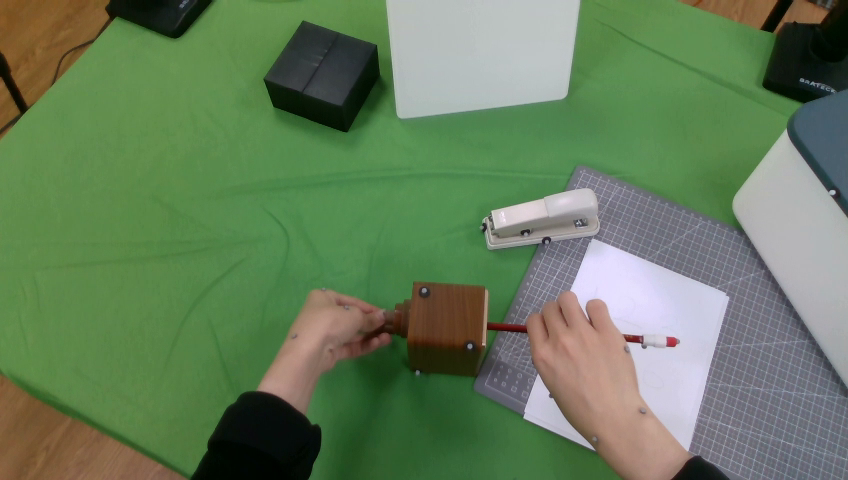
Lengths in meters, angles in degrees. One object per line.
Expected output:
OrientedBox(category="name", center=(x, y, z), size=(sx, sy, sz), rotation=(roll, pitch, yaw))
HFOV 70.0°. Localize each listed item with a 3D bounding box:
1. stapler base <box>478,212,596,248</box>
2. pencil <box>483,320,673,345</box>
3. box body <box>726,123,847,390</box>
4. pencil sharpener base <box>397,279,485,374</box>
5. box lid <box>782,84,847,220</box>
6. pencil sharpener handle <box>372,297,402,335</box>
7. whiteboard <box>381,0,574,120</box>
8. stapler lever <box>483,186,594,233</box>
OrientedBox(category="stapler base", center=(0.127, -0.022, 0.675), size=(0.130, 0.024, 0.041), rotation=(-9, 61, -1))
OrientedBox(category="pencil", center=(0.124, 0.082, 0.546), size=(0.194, 0.012, 0.012), rotation=(4, 64, 5))
OrientedBox(category="box body", center=(0.509, 0.026, 0.583), size=(0.254, 0.161, 0.361), rotation=(-19, 66, -10))
OrientedBox(category="pencil sharpener base", center=(0.015, 0.085, 0.579), size=(0.077, 0.108, 0.061), rotation=(4, 65, 2))
OrientedBox(category="box lid", center=(0.509, -0.008, 0.517), size=(0.263, 0.015, 0.368), rotation=(-19, 67, -10))
OrientedBox(category="pencil sharpener handle", center=(-0.036, 0.075, 0.569), size=(0.030, 0.068, 0.036), rotation=(4, 69, 2))
OrientedBox(category="whiteboard", center=(0.052, -0.319, 0.695), size=(0.217, 0.308, 0.142), rotation=(-7, 46, -4))
OrientedBox(category="stapler lever", center=(0.125, -0.033, 0.653), size=(0.118, 0.040, 0.026), rotation=(-8, 61, -2))
